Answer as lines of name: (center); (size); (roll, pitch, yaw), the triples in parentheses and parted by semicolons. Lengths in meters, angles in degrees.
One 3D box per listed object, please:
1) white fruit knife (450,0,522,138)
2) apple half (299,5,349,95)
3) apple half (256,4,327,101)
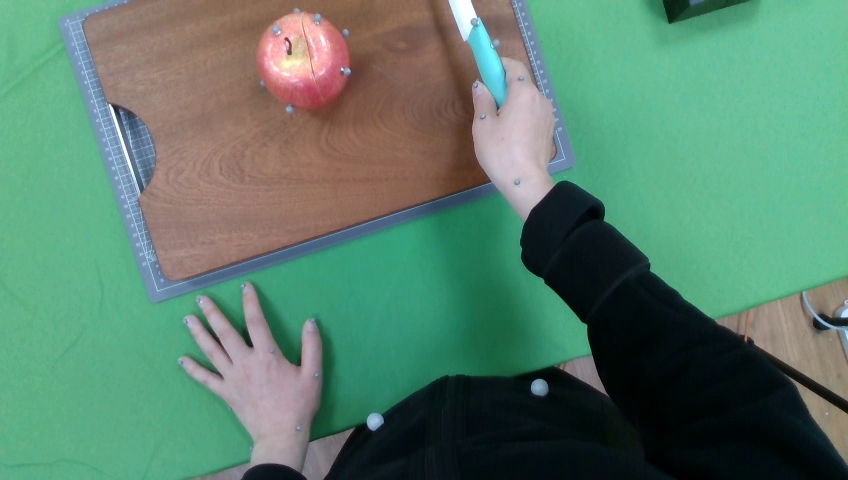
white fruit knife: (0.043, -0.192, 0.541); (0.027, 0.016, 0.207); (-23, 88, 43)
apple half: (-0.084, -0.172, 0.544); (0.033, 0.081, 0.081); (-12, 91, 3)
apple half: (-0.121, -0.163, 0.546); (0.053, 0.074, 0.081); (-13, 94, 4)
